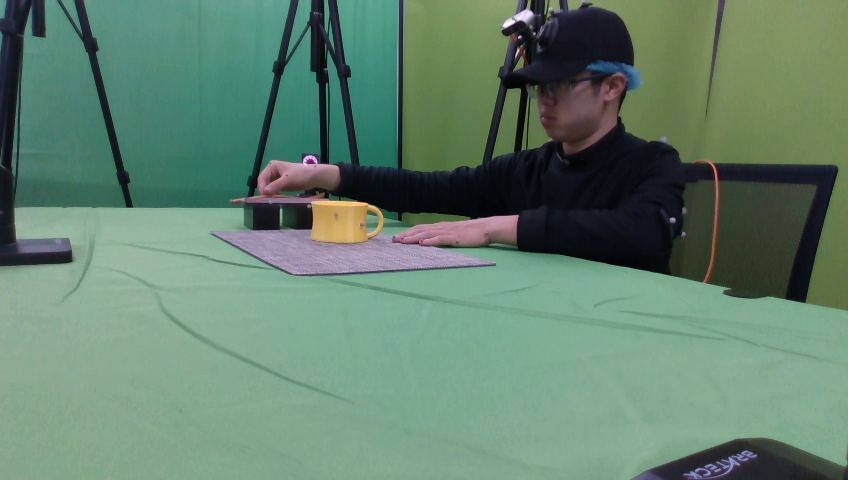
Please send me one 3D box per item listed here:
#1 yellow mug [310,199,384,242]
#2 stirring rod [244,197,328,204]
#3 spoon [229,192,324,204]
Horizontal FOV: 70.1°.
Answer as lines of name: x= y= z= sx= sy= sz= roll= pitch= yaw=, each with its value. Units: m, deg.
yellow mug: x=-0.132 y=-0.035 z=1.054 sx=0.131 sy=0.064 sz=0.099 roll=0 pitch=8 yaw=-23
stirring rod: x=-0.269 y=-0.079 z=1.199 sx=0.177 sy=0.006 sz=0.014 roll=-2 pitch=45 yaw=-35
spoon: x=-0.297 y=-0.087 z=1.230 sx=0.195 sy=0.021 sz=0.041 roll=-3 pitch=3 yaw=-26
